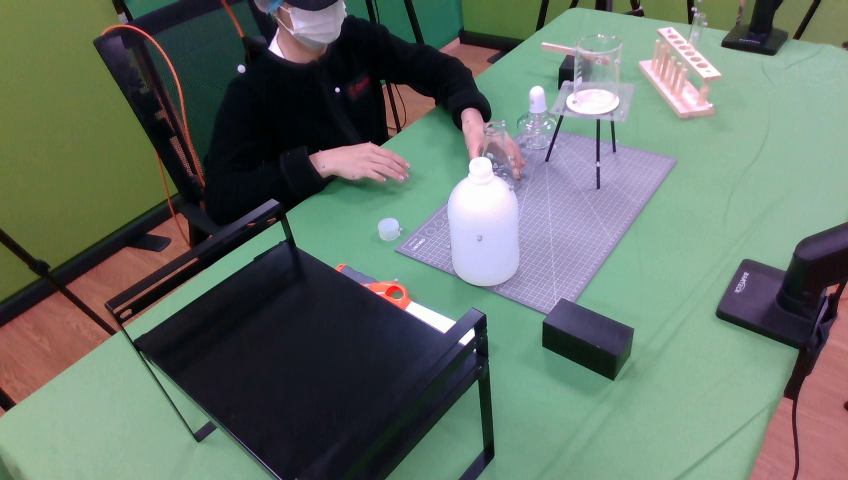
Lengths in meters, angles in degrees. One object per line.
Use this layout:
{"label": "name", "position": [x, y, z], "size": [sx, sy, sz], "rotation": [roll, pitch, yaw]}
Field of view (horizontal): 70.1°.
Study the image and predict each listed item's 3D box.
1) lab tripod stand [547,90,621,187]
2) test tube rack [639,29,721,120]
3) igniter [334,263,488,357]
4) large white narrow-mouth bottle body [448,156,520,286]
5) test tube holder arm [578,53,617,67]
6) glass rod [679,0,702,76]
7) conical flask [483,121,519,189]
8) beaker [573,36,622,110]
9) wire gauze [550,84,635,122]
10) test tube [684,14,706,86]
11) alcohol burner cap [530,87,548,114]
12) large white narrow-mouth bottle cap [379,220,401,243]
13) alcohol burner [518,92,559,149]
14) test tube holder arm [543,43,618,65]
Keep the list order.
{"label": "lab tripod stand", "position": [0.289, -0.184, 1.062], "size": [0.148, 0.132, 0.147], "rotation": [-6, 41, 6]}
{"label": "test tube rack", "position": [0.527, -0.351, 1.262], "size": [0.067, 0.085, 0.241], "rotation": [-8, 40, 1]}
{"label": "igniter", "position": [-0.030, 0.095, 0.872], "size": [0.274, 0.025, 0.057], "rotation": [23, 60, 31]}
{"label": "large white narrow-mouth bottle body", "position": [0.086, -0.032, 0.869], "size": [0.102, 0.195, 0.101], "rotation": [-4, 40, 4]}
{"label": "test tube holder arm", "position": [0.376, -0.393, 1.314], "size": [0.087, 0.015, 0.010], "rotation": [26, 51, 32]}
{"label": "glass rod", "position": [0.543, -0.417, 1.233], "size": [0.008, 0.200, 0.008], "rotation": [1, 39, 0]}
{"label": "conical flask", "position": [0.126, -0.145, 1.051], "size": [0.075, 0.122, 0.075], "rotation": [-5, 40, 4]}
{"label": "beaker", "position": [0.283, -0.273, 0.990], "size": [0.073, 0.101, 0.084], "rotation": [16, 46, 28]}
{"label": "wire gauze", "position": [0.285, -0.234, 1.021], "size": [0.124, 0.011, 0.121], "rotation": [8, 41, 23]}
{"label": "test tube", "position": [0.540, -0.378, 1.215], "size": [0.017, 0.151, 0.017], "rotation": [-2, 44, 3]}
{"label": "alcohol burner cap", "position": [0.212, -0.262, 1.126], "size": [0.034, 0.048, 0.033], "rotation": [-8, 37, 7]}
{"label": "large white narrow-mouth bottle cap", "position": [-0.057, -0.015, 1.012], "size": [0.038, 0.024, 0.037], "rotation": [-4, 40, 4]}
{"label": "alcohol burner", "position": [0.218, -0.235, 1.149], "size": [0.078, 0.119, 0.077], "rotation": [-5, 43, 5]}
{"label": "test tube holder arm", "position": [0.345, -0.413, 1.341], "size": [0.177, 0.015, 0.013], "rotation": [25, 50, 31]}
